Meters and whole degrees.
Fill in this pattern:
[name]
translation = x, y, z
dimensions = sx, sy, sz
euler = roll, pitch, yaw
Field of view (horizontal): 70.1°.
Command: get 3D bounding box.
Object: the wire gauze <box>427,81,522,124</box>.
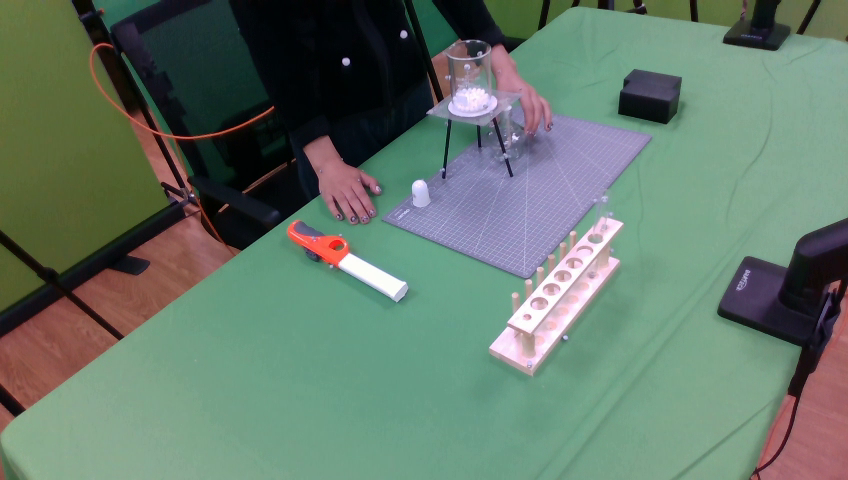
[wire gauze]
translation = 0.088, -0.237, 1.051
dimensions = 0.120, 0.011, 0.125
euler = 23, 47, 29

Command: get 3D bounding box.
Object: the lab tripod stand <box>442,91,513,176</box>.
[lab tripod stand]
translation = 0.096, -0.190, 1.096
dimensions = 0.148, 0.132, 0.147
euler = -4, 40, 4

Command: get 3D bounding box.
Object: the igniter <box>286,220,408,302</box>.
[igniter]
translation = -0.134, 0.028, 0.969
dimensions = 0.274, 0.025, 0.057
euler = 26, 61, 35

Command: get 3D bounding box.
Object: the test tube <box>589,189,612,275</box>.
[test tube]
translation = 0.238, -0.007, 0.818
dimensions = 0.017, 0.151, 0.017
euler = -3, 43, 4

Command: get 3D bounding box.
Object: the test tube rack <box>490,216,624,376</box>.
[test tube rack]
translation = 0.184, 0.064, 0.822
dimensions = 0.066, 0.085, 0.243
euler = 24, 50, 33

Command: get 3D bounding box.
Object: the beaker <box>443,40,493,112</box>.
[beaker]
translation = 0.076, -0.276, 1.023
dimensions = 0.083, 0.101, 0.074
euler = 5, 42, 15

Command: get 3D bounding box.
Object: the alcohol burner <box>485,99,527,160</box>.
[alcohol burner]
translation = 0.152, -0.210, 1.124
dimensions = 0.078, 0.119, 0.077
euler = -4, 42, 4

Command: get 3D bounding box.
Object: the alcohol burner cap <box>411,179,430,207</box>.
[alcohol burner cap]
translation = -0.008, -0.085, 1.063
dimensions = 0.034, 0.048, 0.033
euler = -4, 40, 4
